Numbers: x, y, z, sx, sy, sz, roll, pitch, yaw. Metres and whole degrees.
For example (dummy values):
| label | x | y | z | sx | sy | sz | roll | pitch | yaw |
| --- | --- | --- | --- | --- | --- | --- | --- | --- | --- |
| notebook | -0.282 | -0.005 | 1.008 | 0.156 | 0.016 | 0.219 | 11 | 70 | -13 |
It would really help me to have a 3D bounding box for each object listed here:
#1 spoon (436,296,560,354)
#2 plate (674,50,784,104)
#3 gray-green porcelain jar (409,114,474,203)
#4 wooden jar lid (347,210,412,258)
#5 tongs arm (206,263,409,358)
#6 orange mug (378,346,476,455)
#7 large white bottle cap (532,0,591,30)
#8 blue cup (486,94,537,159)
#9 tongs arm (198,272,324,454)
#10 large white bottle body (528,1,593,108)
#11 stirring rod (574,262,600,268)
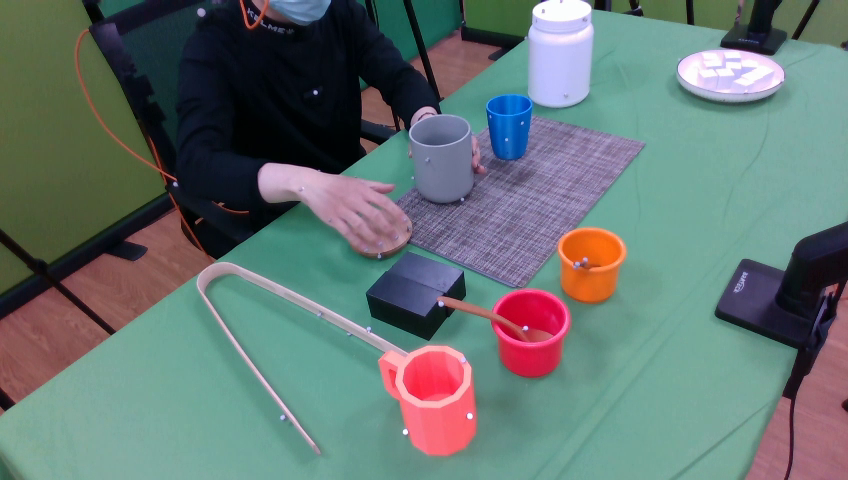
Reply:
| label | x | y | z | sx | sy | sz | roll | pitch | yaw |
| --- | --- | --- | --- | --- | --- | --- | --- | --- | --- |
| spoon | 0.095 | 0.102 | 0.750 | 0.195 | 0.021 | 0.041 | 28 | 31 | -28 |
| plate | 0.631 | -0.336 | 1.262 | 0.207 | 0.039 | 0.206 | -4 | 41 | 4 |
| gray-green porcelain jar | 0.033 | -0.137 | 1.045 | 0.106 | 0.127 | 0.105 | -4 | 41 | 4 |
| wooden jar lid | -0.072 | -0.009 | 0.997 | 0.108 | 0.021 | 0.108 | -5 | 43 | 5 |
| tongs arm | -0.179 | 0.106 | 0.870 | 0.382 | 0.027 | 0.051 | 23 | 55 | 32 |
| orange mug | 0.002 | 0.179 | 0.708 | 0.125 | 0.101 | 0.083 | 25 | 50 | 27 |
| large white bottle cap | 0.274 | -0.450 | 1.204 | 0.115 | 0.018 | 0.114 | -4 | 41 | 4 |
| blue cup | 0.161 | -0.208 | 1.129 | 0.092 | 0.100 | 0.092 | -4 | 39 | 4 |
| tongs arm | -0.236 | 0.154 | 0.831 | 0.028 | 0.028 | 0.384 | -37 | 48 | -18 |
| large white bottle body | 0.283 | -0.386 | 1.259 | 0.130 | 0.185 | 0.130 | -5 | 41 | 4 |
| stirring rod | 0.222 | 0.033 | 0.816 | 0.014 | 0.006 | 0.177 | 8 | 1 | 22 |
